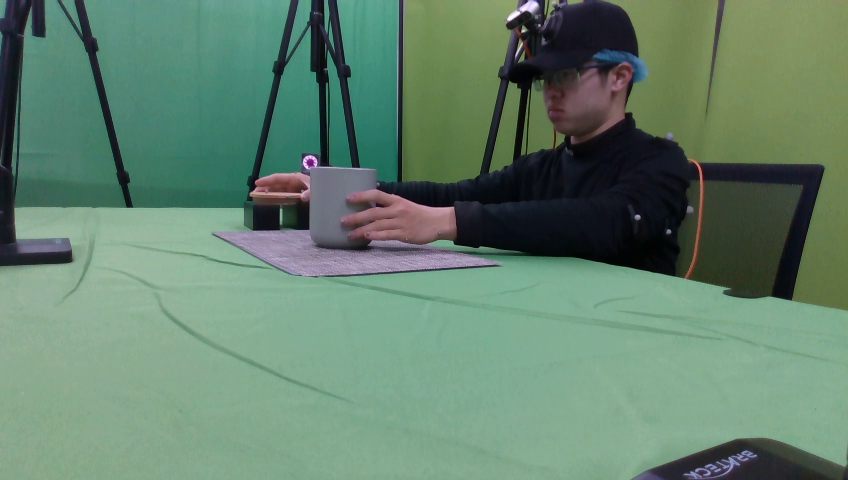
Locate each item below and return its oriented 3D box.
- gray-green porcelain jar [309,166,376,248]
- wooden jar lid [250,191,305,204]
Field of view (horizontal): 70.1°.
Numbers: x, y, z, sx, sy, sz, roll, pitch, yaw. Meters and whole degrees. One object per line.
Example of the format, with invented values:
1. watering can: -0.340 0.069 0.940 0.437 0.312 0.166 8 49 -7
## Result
1. gray-green porcelain jar: -0.130 -0.054 0.966 0.106 0.126 0.106 2 7 0
2. wooden jar lid: -0.296 -0.086 1.220 0.108 0.020 0.108 3 8 0
